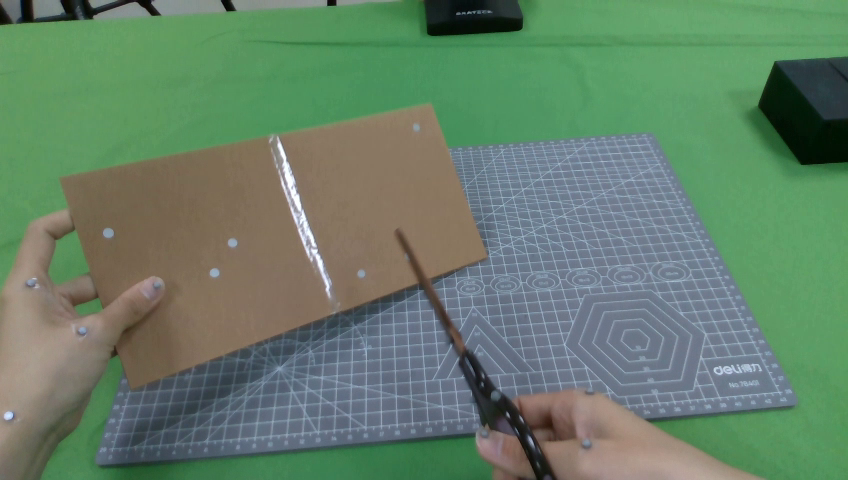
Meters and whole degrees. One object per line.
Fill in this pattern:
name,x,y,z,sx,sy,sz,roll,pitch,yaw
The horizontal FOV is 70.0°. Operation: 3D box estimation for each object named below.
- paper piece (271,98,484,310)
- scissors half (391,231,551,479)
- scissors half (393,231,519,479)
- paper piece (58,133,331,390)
paper piece,-0.029,-0.032,0.455,0.138,0.136,0.008,-19,4,-29
scissors half,0.021,0.061,0.331,0.013,0.040,0.173,-27,61,-10
scissors half,0.021,0.069,0.349,0.013,0.040,0.174,-24,77,-15
paper piece,-0.141,0.008,0.394,0.136,0.135,0.004,-19,5,-30
